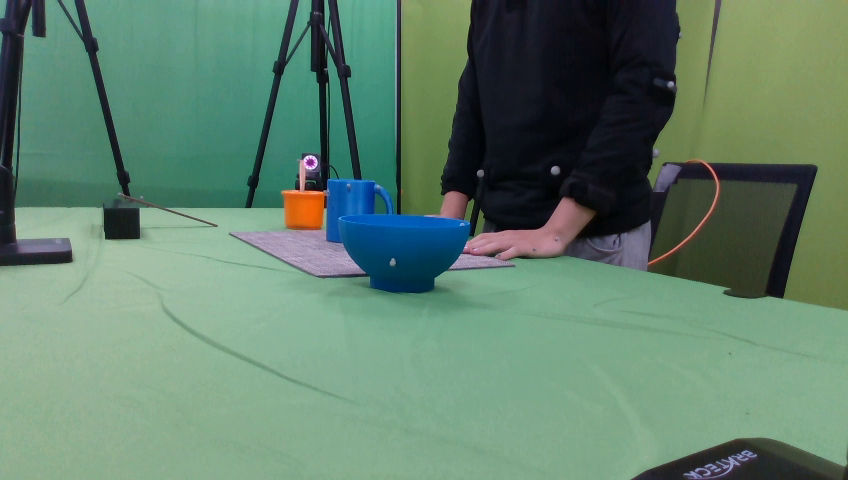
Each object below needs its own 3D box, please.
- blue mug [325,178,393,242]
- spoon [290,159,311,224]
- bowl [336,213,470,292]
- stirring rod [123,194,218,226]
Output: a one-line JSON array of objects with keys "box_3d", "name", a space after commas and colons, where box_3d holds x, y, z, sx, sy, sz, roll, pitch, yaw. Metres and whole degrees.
[{"box_3d": [-0.111, -0.052, 1.034, 0.116, 0.106, 0.082, 3, 7, 7], "name": "blue mug"}, {"box_3d": [-0.256, -0.104, 1.265, 0.042, 0.193, 0.021, 1, -37, -9], "name": "spoon"}, {"box_3d": [-0.025, 0.013, 0.685, 0.151, 0.077, 0.151, 2, 7, 0], "name": "bowl"}, {"box_3d": [-0.480, -0.056, 1.153, 0.177, 0.006, 0.014, 19, -5, -29], "name": "stirring rod"}]
